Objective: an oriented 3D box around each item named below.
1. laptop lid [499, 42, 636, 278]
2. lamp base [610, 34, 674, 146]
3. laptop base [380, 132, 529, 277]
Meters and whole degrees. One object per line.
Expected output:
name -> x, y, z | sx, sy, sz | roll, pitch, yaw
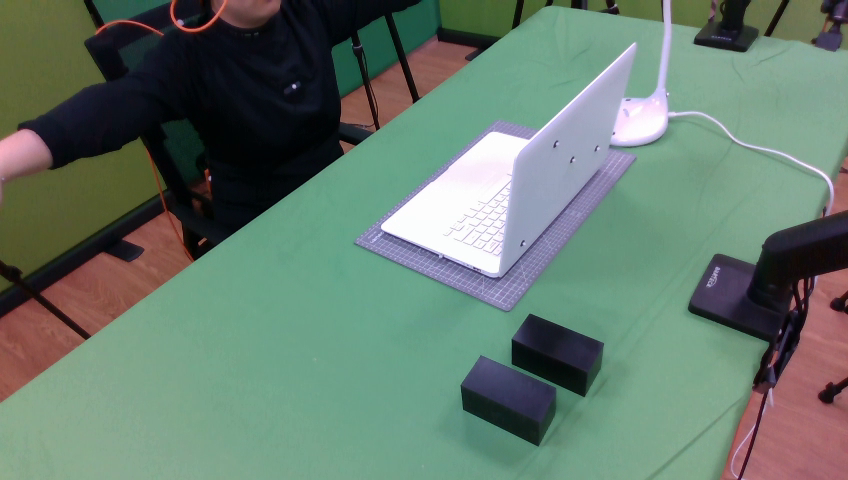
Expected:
laptop lid -> 0.217, -0.122, 0.898 | 0.013, 0.242, 0.358 | 28, 50, 25
lamp base -> 0.392, -0.291, 1.129 | 0.180, 0.181, 0.159 | -11, 41, -8
laptop base -> 0.122, -0.077, 1.042 | 0.233, 0.023, 0.355 | 20, 47, 33
